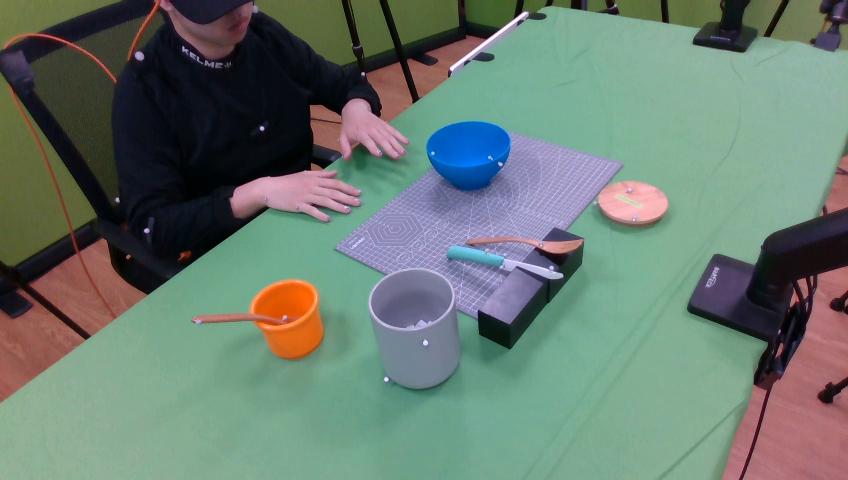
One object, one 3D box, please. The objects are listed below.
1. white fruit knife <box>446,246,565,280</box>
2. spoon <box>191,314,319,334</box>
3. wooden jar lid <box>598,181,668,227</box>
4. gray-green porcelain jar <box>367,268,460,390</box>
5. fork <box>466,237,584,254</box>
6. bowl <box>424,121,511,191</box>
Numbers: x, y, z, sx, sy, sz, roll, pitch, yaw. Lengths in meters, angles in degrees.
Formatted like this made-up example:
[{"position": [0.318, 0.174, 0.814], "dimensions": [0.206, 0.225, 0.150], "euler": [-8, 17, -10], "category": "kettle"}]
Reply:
[{"position": [0.111, 0.033, 0.868], "dimensions": [0.205, 0.027, 0.016], "euler": [11, 44, 40], "category": "white fruit knife"}, {"position": [-0.212, 0.105, 0.780], "dimensions": [0.041, 0.195, 0.021], "euler": [30, 97, 37], "category": "spoon"}, {"position": [0.340, -0.058, 0.988], "dimensions": [0.108, 0.021, 0.108], "euler": [-5, 41, 5], "category": "wooden jar lid"}, {"position": [-0.009, 0.116, 0.754], "dimensions": [0.106, 0.127, 0.105], "euler": [-4, 41, 4], "category": "gray-green porcelain jar"}, {"position": [0.142, 0.005, 0.894], "dimensions": [0.205, 0.019, 0.028], "euler": [4, 43, 41], "category": "fork"}, {"position": [0.080, -0.141, 1.074], "dimensions": [0.151, 0.077, 0.150], "euler": [-4, 40, 4], "category": "bowl"}]
